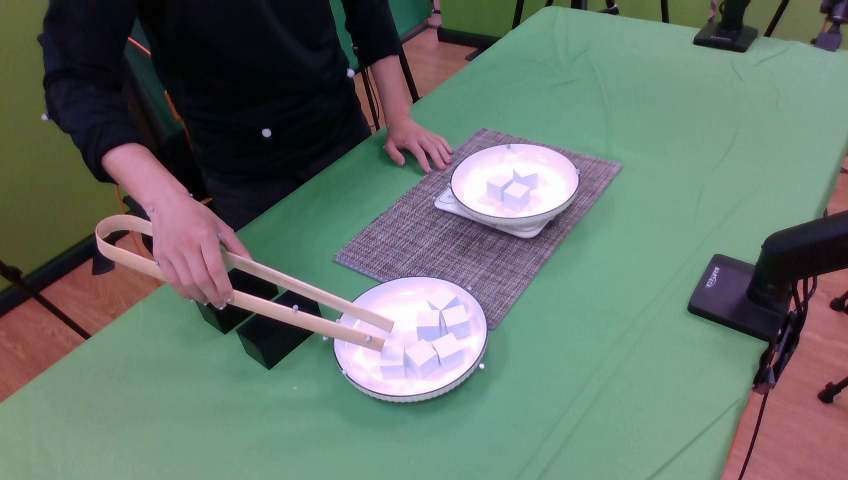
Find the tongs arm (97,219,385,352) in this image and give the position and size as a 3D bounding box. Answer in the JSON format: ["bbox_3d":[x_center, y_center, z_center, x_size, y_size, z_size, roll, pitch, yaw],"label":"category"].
[{"bbox_3d":[-0.228,0.057,0.753,0.385,0.026,0.050,18,43,-1],"label":"tongs arm"}]

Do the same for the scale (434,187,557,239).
[{"bbox_3d":[0.132,-0.074,1.025,0.199,0.032,0.149,22,48,30],"label":"scale"}]

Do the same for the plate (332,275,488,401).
[{"bbox_3d":[-0.017,0.131,0.808,0.207,0.039,0.206,-4,40,4],"label":"plate"}]

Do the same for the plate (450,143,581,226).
[{"bbox_3d":[0.148,-0.087,0.986,0.209,0.038,0.208,-4,41,4],"label":"plate"}]

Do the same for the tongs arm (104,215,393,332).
[{"bbox_3d":[-0.222,0.043,0.770,0.387,0.028,0.028,21,47,2],"label":"tongs arm"}]
